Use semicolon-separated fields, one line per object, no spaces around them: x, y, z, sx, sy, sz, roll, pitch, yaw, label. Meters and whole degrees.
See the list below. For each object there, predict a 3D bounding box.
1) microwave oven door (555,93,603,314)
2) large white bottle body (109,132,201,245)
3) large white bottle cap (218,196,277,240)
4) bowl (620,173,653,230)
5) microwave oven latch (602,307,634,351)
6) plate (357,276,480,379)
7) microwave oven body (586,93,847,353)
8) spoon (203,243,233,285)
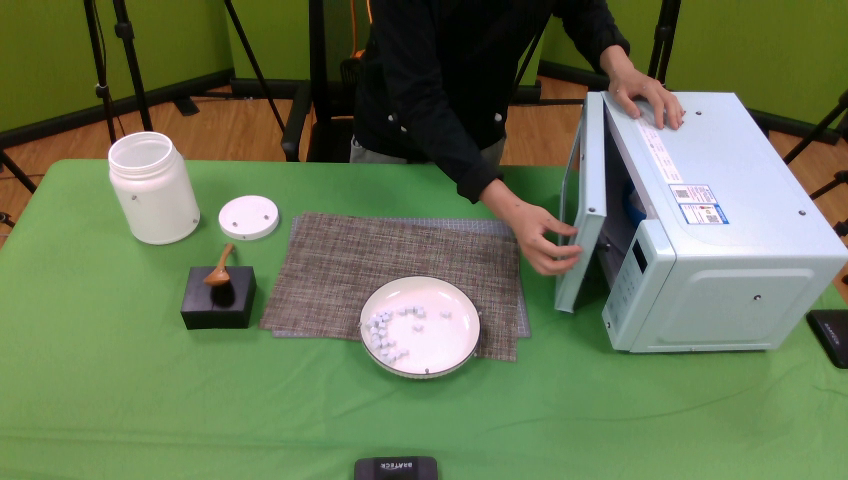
0.287;-0.077;1.123;0.039;0.245;0.354;9;46;5;microwave oven door
-0.506;-0.097;1.141;0.131;0.185;0.130;2;46;-2;large white bottle body
-0.354;-0.045;1.220;0.115;0.018;0.114;2;45;-2;large white bottle cap
0.446;-0.057;1.166;0.151;0.077;0.150;1;46;-1;bowl
0.332;0.153;1.044;0.030;0.029;0.078;0;45;-4;microwave oven latch
-0.009;0.151;1.038;0.209;0.038;0.208;2;47;-2;plate
0.475;-0.041;1.109;0.326;0.261;0.438;-1;45;-4;microwave oven body
-0.360;0.039;1.087;0.041;0.022;0.192;-6;24;-6;spoon
